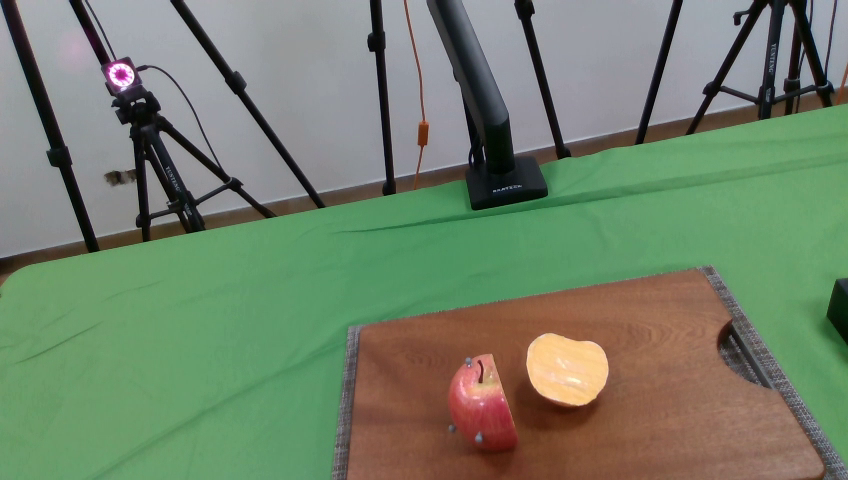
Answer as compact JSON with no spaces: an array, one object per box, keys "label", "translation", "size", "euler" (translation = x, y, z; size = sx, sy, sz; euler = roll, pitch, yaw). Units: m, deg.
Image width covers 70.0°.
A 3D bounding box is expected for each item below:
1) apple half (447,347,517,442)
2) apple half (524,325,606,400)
[{"label":"apple half","translation":[0.049,0.145,0.551],"size":[0.053,0.075,0.080],"euler":[-18,40,2]},{"label":"apple half","translation":[0.133,0.123,0.586],"size":[0.081,0.033,0.080],"euler":[-3,49,3]}]
